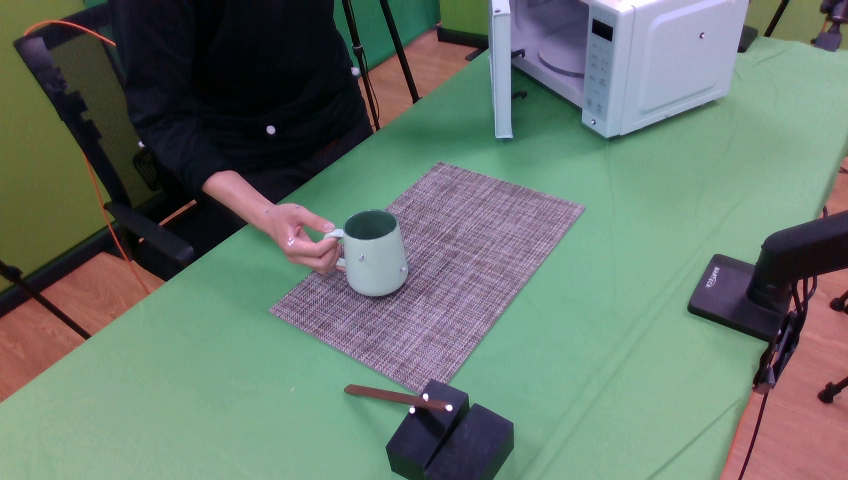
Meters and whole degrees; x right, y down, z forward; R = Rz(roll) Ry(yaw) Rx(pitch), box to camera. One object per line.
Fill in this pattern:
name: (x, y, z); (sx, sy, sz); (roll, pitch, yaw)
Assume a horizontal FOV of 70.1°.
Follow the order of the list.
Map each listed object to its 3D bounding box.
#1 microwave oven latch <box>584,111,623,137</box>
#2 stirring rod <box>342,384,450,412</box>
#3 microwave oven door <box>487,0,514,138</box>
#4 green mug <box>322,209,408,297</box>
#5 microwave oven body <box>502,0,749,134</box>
microwave oven latch: (0.337, -0.222, 1.142); (0.030, 0.029, 0.078); (-21, 42, -14)
stirring rod: (-0.038, 0.185, 0.714); (0.175, 0.006, 0.014); (-3, 22, 43)
microwave oven door: (0.152, -0.405, 1.223); (0.039, 0.245, 0.354); (-3, 41, 6)
green mug: (-0.088, 0.019, 0.879); (0.125, 0.105, 0.092); (5, 38, 13)
microwave oven body: (0.382, -0.445, 1.246); (0.327, 0.261, 0.437); (-22, 42, -16)
